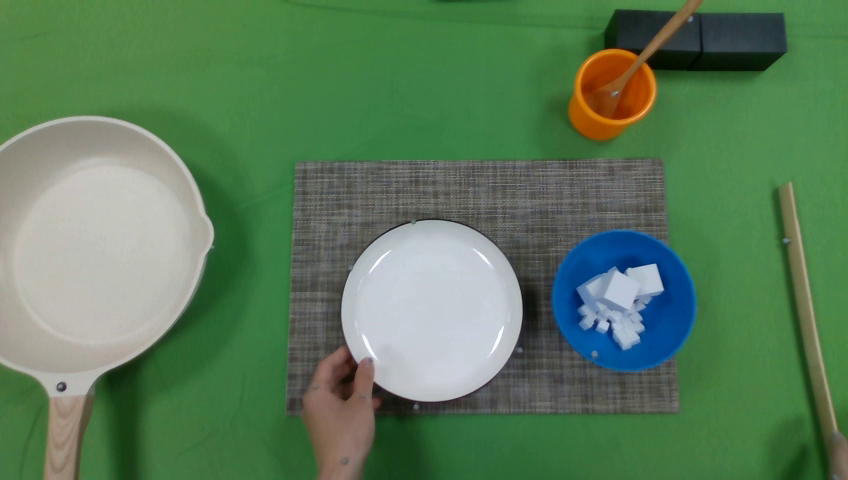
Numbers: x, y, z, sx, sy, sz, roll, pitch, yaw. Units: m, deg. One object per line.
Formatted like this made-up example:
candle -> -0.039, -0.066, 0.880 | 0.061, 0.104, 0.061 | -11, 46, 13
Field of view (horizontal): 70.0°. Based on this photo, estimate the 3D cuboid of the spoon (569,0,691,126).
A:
spoon -> 0.236, -0.205, 0.687 | 0.041, 0.194, 0.021 | 49, 40, 11

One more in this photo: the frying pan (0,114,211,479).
frying pan -> -0.382, 0.103, 0.661 | 0.307, 0.103, 0.484 | -3, 73, 1

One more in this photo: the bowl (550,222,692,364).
bowl -> 0.208, 0.061, 0.675 | 0.151, 0.077, 0.151 | 0, 80, 0

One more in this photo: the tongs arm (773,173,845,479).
tongs arm -> 0.450, 0.111, 0.697 | 0.028, 0.028, 0.386 | -7, 82, -3

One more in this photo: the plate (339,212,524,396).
plate -> 0.009, 0.072, 0.695 | 0.208, 0.039, 0.207 | 0, 81, 0
